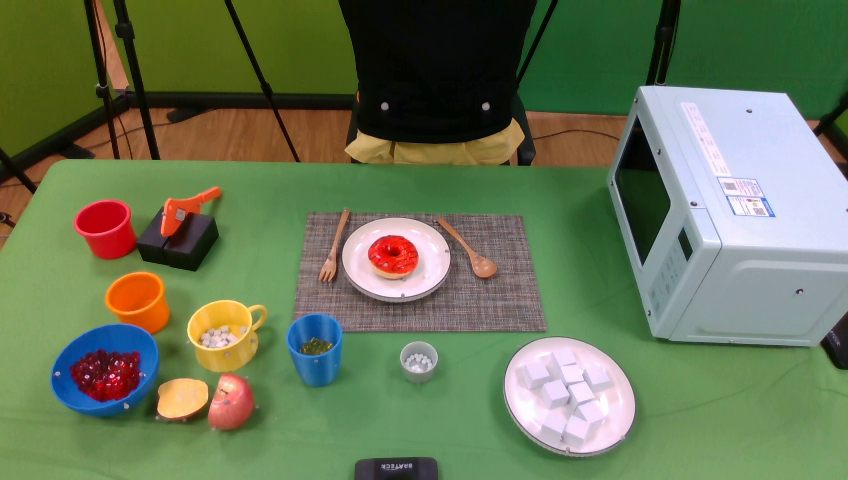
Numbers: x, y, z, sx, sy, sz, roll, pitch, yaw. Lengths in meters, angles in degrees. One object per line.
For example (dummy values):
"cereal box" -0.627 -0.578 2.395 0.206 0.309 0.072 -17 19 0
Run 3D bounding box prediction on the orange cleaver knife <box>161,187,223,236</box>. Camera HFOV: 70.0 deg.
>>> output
"orange cleaver knife" -0.449 -0.059 1.181 0.012 0.077 0.211 14 17 6

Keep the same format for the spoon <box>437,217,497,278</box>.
"spoon" 0.080 0.010 1.188 0.041 0.022 0.192 -34 55 -7

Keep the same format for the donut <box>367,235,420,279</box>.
"donut" -0.057 0.032 1.132 0.099 0.048 0.098 3 45 -3

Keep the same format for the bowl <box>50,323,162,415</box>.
"bowl" -0.472 0.209 0.924 0.151 0.077 0.150 3 45 -2

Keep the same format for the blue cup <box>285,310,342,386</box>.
"blue cup" -0.170 0.179 0.958 0.093 0.101 0.092 2 44 -1

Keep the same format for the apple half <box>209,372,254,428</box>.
"apple half" -0.282 0.243 0.908 0.053 0.075 0.080 8 42 -2

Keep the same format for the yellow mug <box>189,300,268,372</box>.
"yellow mug" -0.316 0.149 1.001 0.131 0.064 0.099 -32 55 -31

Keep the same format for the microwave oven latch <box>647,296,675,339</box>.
"microwave oven latch" 0.413 0.134 1.061 0.030 0.029 0.078 4 45 2

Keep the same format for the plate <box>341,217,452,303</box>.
"plate" -0.052 0.039 1.140 0.209 0.038 0.208 2 46 -2

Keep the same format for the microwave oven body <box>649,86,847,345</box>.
"microwave oven body" 0.568 -0.053 1.119 0.326 0.261 0.439 2 45 -1

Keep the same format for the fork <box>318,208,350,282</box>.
"fork" -0.170 0.006 1.177 0.028 0.019 0.206 2 47 9

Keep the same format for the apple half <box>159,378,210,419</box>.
"apple half" -0.366 0.247 0.926 0.081 0.033 0.081 8 31 -5

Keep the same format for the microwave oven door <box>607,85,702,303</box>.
"microwave oven door" 0.423 -0.094 1.140 0.039 0.245 0.353 2 46 -1

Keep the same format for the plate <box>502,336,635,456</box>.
"plate" 0.225 0.248 0.963 0.208 0.039 0.206 2 46 -2

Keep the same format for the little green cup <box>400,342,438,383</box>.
"little green cup" -0.010 0.202 0.991 0.061 0.039 0.061 2 47 -2
